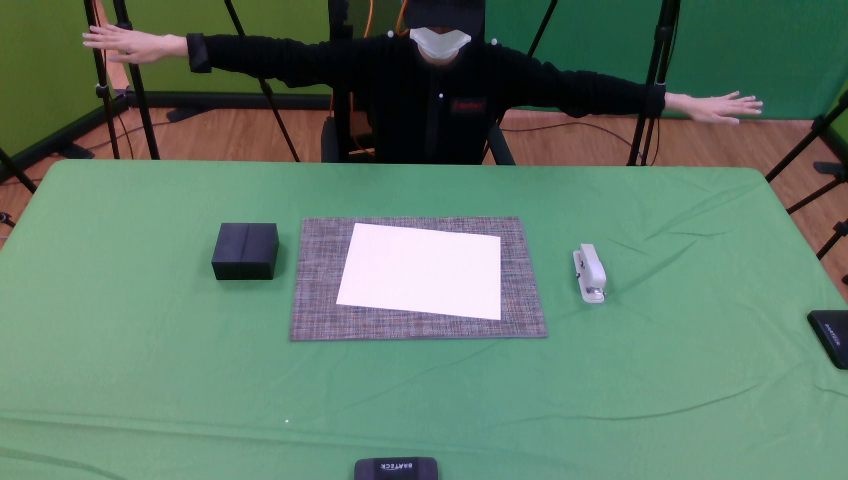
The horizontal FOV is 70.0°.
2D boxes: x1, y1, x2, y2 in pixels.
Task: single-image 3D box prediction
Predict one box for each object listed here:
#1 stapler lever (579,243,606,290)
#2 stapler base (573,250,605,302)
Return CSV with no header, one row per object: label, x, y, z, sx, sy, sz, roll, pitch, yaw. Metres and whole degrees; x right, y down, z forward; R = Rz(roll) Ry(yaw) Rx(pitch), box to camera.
stapler lever,0.318,0.044,1.144,0.027,0.040,0.117,3,45,-3
stapler base,0.317,0.062,1.160,0.041,0.024,0.130,3,44,-3
